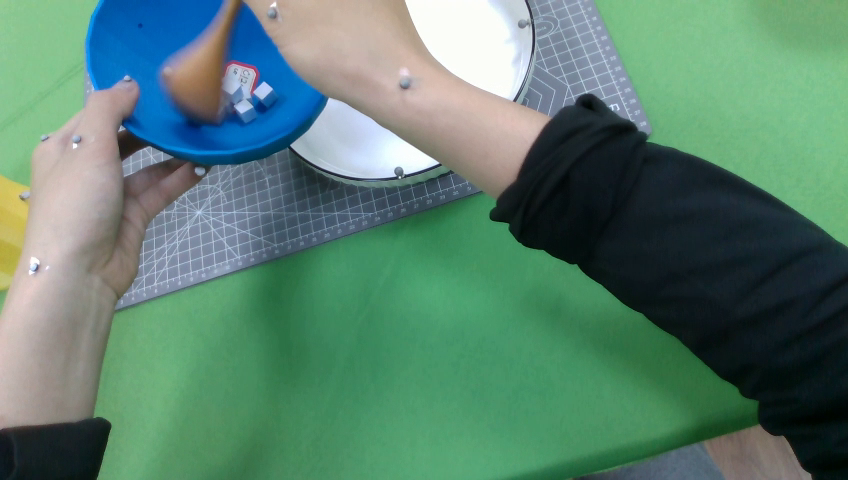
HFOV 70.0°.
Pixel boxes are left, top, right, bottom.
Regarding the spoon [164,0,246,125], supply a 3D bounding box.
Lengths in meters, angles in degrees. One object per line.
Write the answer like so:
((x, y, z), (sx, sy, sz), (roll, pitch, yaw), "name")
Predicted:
((-0.104, -0.129, 0.330), (0.042, 0.194, 0.021), (30, 42, -14), "spoon")

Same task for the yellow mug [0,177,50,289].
((-0.377, 0.001, 0.491), (0.099, 0.064, 0.130), (5, 71, 16), "yellow mug")

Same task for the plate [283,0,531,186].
((-0.022, -0.131, 0.460), (0.209, 0.038, 0.207), (-5, 68, 13), "plate")

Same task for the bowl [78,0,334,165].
((-0.134, -0.110, 0.403), (0.151, 0.077, 0.150), (2, 75, -6), "bowl")
